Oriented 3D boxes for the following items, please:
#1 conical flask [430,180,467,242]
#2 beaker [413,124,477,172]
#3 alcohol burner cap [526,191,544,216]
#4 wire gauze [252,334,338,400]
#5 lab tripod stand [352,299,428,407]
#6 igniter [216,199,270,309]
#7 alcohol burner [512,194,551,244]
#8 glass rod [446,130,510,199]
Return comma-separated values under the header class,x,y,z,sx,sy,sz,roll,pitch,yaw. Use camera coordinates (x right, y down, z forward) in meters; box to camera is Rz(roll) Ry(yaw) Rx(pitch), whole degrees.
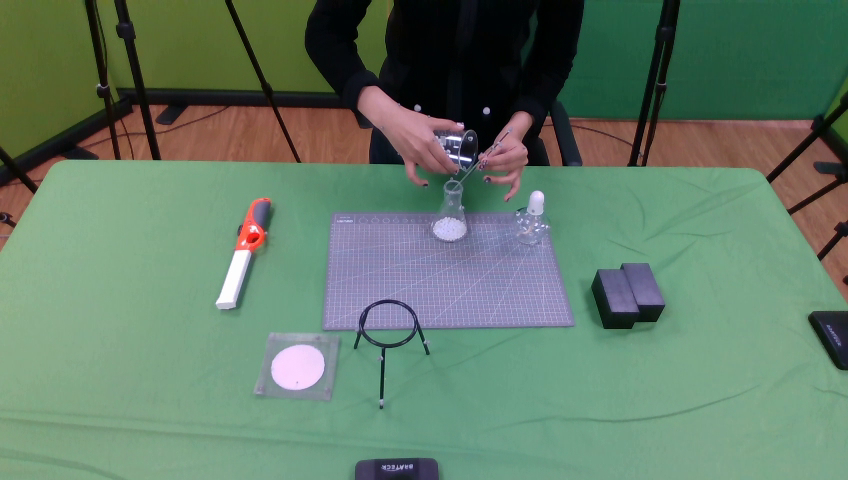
class,x,y,z,sx,sy,sz,roll,pitch,yaw
conical flask,0.052,-0.060,1.188,0.075,0.122,0.075,2,46,-2
beaker,0.037,-0.169,1.109,0.100,0.084,0.074,14,41,28
alcohol burner cap,0.216,-0.073,1.170,0.034,0.048,0.033,0,43,0
wire gauze,-0.209,0.204,0.996,0.125,0.011,0.120,3,45,1
lab tripod stand,-0.056,0.166,0.958,0.148,0.132,0.147,3,44,-2
igniter,-0.342,0.016,1.153,0.057,0.025,0.275,-3,45,7
alcohol burner,0.215,-0.048,1.196,0.078,0.119,0.077,4,46,-4
glass rod,0.095,-0.133,1.103,0.008,0.200,0.008,21,46,-23
